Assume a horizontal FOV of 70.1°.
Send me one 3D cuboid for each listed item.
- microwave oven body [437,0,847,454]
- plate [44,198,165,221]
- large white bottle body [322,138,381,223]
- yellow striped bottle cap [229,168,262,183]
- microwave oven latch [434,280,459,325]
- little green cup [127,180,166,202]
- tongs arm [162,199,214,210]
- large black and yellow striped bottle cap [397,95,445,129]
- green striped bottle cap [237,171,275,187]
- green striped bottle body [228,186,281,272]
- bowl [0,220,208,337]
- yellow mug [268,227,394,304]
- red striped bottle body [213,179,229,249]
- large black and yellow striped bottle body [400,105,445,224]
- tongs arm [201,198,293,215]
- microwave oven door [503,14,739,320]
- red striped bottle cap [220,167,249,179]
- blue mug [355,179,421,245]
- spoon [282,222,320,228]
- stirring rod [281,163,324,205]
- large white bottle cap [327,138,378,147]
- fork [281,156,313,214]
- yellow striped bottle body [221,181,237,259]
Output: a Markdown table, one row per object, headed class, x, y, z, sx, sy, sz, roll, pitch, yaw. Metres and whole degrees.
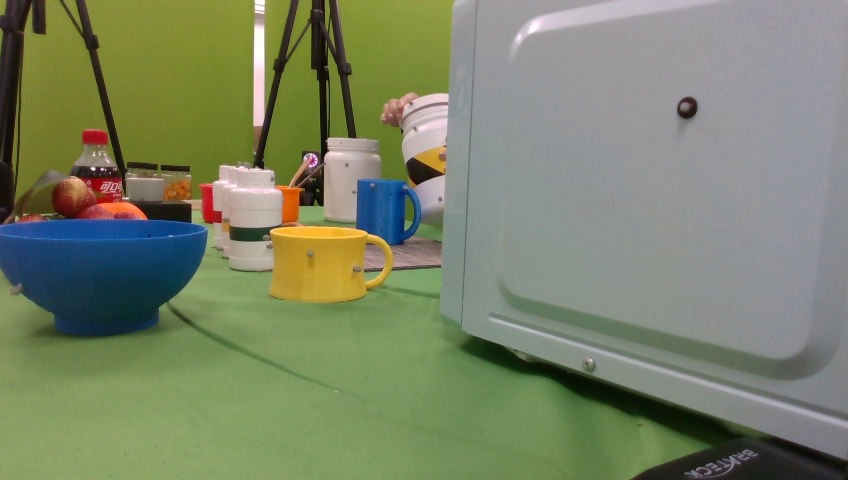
| class | x | y | z | sx | sy | sz | roll | pitch | yaw |
| --- | --- | --- | --- | --- | --- | --- | --- | --- | --- |
| microwave oven body | 0.279 | -0.040 | 0.464 | 0.444 | 0.260 | 0.324 | -3 | 9 | -41 |
| plate | -0.617 | -0.056 | 1.179 | 0.209 | 0.038 | 0.209 | 3 | 7 | 0 |
| large white bottle body | -0.163 | -0.135 | 1.368 | 0.131 | 0.184 | 0.130 | 2 | 7 | 0 |
| yellow striped bottle cap | -0.241 | -0.087 | 0.816 | 0.044 | 0.018 | 0.044 | -2 | 5 | 1 |
| microwave oven latch | 0.044 | 0.045 | 0.470 | 0.079 | 0.029 | 0.030 | -2 | 8 | -39 |
| little green cup | -0.486 | -0.087 | 1.062 | 0.061 | 0.038 | 0.061 | 0 | 7 | 0 |
| tongs arm | -0.504 | -0.091 | 1.513 | 0.028 | 0.028 | 0.389 | -1 | 4 | 37 |
| large black and yellow striped bottle cap | 0.009 | -0.226 | 1.087 | 0.115 | 0.019 | 0.115 | -14 | -11 | -3 |
| green striped bottle cap | -0.206 | -0.074 | 0.738 | 0.044 | 0.020 | 0.044 | 1 | 9 | 0 |
| green striped bottle body | -0.208 | -0.023 | 0.745 | 0.063 | 0.119 | 0.063 | 2 | 7 | 0 |
| bowl | -0.251 | 0.029 | 0.479 | 0.151 | 0.077 | 0.151 | 2 | 7 | 0 |
| yellow mug | -0.094 | 0.023 | 0.629 | 0.131 | 0.064 | 0.099 | 0 | 7 | -22 |
| red striped bottle body | -0.283 | -0.047 | 0.908 | 0.063 | 0.119 | 0.063 | 2 | 8 | 0 |
| large black and yellow striped bottle body | 0.031 | -0.131 | 1.066 | 0.131 | 0.183 | 0.131 | -12 | -10 | -2 |
| tongs arm | -0.423 | -0.084 | 1.473 | 0.050 | 0.026 | 0.386 | 2 | 6 | 21 |
| microwave oven door | 0.217 | -0.065 | 0.600 | 0.358 | 0.243 | 0.039 | -4 | 10 | -41 |
| red striped bottle cap | -0.281 | -0.100 | 0.901 | 0.044 | 0.017 | 0.044 | -1 | 5 | 0 |
| blue mug | -0.058 | -0.046 | 1.004 | 0.116 | 0.106 | 0.082 | 6 | 9 | 24 |
| spoon | -0.227 | -0.023 | 1.085 | 0.042 | 0.021 | 0.193 | -24 | 18 | -23 |
| stirring rod | -0.278 | -0.105 | 1.293 | 0.176 | 0.006 | 0.014 | -47 | 25 | -18 |
| large white bottle cap | -0.160 | -0.218 | 1.357 | 0.115 | 0.018 | 0.115 | 2 | 8 | 0 |
| fork | -0.289 | -0.116 | 1.320 | 0.028 | 0.019 | 0.207 | -2 | 48 | 27 |
| yellow striped bottle body | -0.244 | -0.035 | 0.823 | 0.063 | 0.120 | 0.063 | 2 | 8 | 0 |
